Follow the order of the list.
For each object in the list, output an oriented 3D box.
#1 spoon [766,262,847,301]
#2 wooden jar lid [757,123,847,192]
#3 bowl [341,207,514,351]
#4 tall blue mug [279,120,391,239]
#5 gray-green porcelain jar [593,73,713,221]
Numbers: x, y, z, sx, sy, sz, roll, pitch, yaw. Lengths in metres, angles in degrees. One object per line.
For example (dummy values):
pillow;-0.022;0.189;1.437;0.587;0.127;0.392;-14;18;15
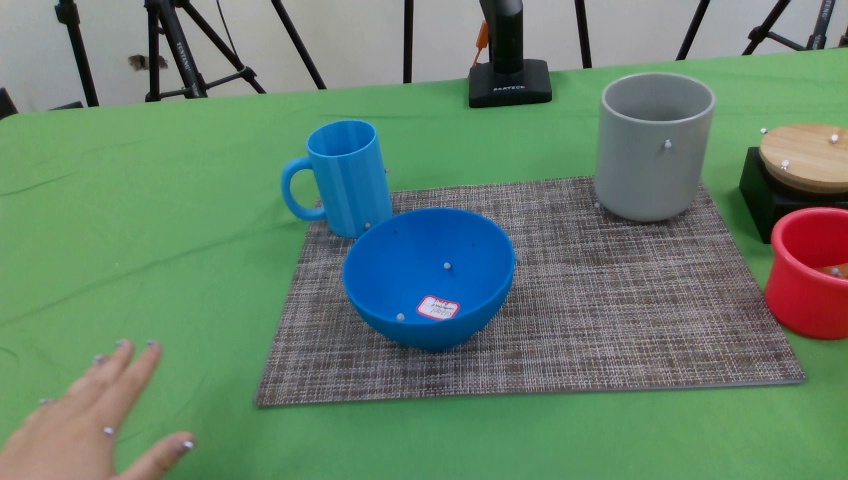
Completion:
spoon;0.366;0.013;0.471;0.022;0.194;0.041;47;49;-7
wooden jar lid;0.386;-0.081;0.596;0.108;0.021;0.107;-6;40;5
bowl;0.007;0.046;0.543;0.151;0.077;0.150;-5;40;4
tall blue mug;-0.093;-0.059;0.661;0.107;0.109;0.077;-34;47;-27
gray-green porcelain jar;0.231;-0.091;0.626;0.106;0.128;0.105;-5;40;5
